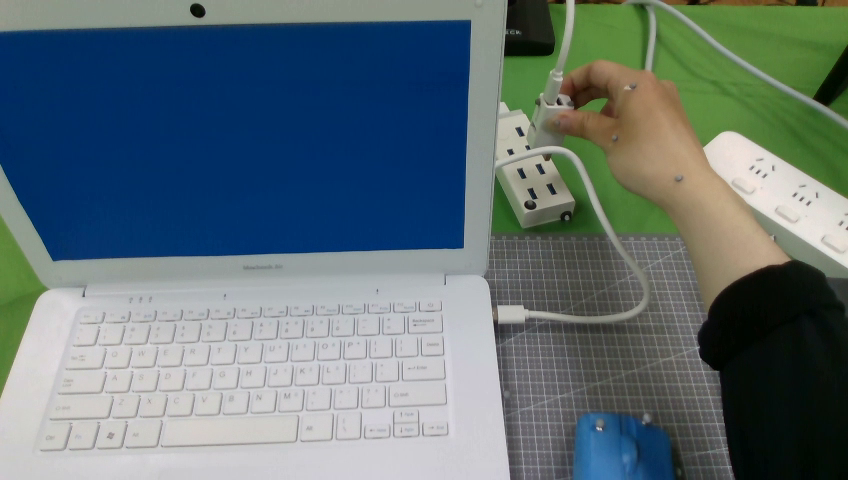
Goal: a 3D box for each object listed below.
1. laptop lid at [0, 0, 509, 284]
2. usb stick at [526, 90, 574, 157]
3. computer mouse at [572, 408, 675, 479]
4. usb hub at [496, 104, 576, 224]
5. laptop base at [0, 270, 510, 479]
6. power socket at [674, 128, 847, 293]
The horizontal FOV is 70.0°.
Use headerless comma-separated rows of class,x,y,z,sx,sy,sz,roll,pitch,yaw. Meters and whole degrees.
laptop lid,-0.126,-0.057,0.409,0.357,0.244,0.013,-3,41,0
usb stick,0.102,-0.094,0.502,0.027,0.059,0.021,-4,50,-10
computer mouse,0.125,0.161,0.384,0.062,0.041,0.116,9,50,10
usb hub,0.091,-0.073,0.561,0.049,0.025,0.124,-14,56,-9
laptop base,-0.120,0.129,0.421,0.354,0.023,0.233,-2,58,-1
power socket,0.328,-0.021,0.522,0.072,0.033,0.224,-36,62,-24
